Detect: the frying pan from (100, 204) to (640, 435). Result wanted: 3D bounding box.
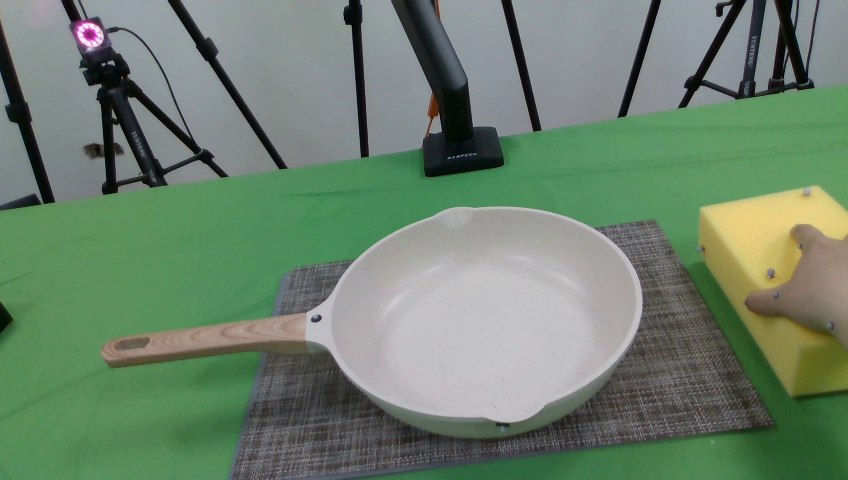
[{"bbox_3d":[-0.050,0.076,0.575,0.488,0.103,0.303,-4,34,-5],"label":"frying pan"}]

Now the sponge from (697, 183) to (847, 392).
[{"bbox_3d":[0.345,0.033,0.548,0.118,0.061,0.205,-11,33,6],"label":"sponge"}]
